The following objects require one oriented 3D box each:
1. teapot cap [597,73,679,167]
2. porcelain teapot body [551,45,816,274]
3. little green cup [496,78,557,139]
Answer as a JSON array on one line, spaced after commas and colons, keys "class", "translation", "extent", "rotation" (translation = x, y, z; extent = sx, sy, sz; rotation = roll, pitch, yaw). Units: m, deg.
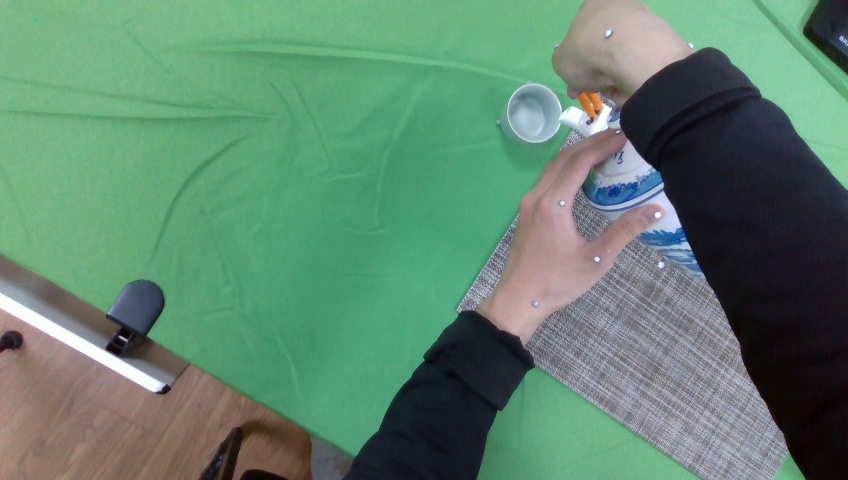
[{"class": "teapot cap", "translation": [0.166, -0.098, 0.484], "extent": [0.044, 0.084, 0.085], "rotation": [31, 84, -18]}, {"class": "porcelain teapot body", "translation": [0.189, -0.083, 0.527], "extent": [0.227, 0.204, 0.145], "rotation": [30, 93, -21]}, {"class": "little green cup", "translation": [0.107, -0.137, 0.646], "extent": [0.062, 0.038, 0.061], "rotation": [0, 90, -13]}]
